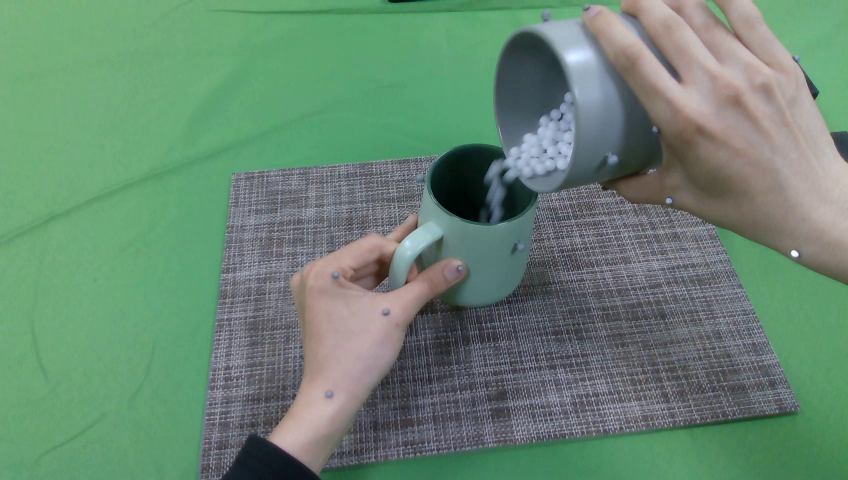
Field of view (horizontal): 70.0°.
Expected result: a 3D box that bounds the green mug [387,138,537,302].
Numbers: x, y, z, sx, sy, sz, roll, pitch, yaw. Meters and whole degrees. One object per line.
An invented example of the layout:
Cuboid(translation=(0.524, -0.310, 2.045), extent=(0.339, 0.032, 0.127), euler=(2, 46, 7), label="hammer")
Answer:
Cuboid(translation=(0.024, -0.004, 0.453), extent=(0.125, 0.106, 0.092), euler=(-35, 63, -25), label="green mug")

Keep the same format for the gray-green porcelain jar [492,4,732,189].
Cuboid(translation=(0.125, -0.097, 0.402), extent=(0.127, 0.106, 0.104), euler=(-13, 55, -18), label="gray-green porcelain jar")
